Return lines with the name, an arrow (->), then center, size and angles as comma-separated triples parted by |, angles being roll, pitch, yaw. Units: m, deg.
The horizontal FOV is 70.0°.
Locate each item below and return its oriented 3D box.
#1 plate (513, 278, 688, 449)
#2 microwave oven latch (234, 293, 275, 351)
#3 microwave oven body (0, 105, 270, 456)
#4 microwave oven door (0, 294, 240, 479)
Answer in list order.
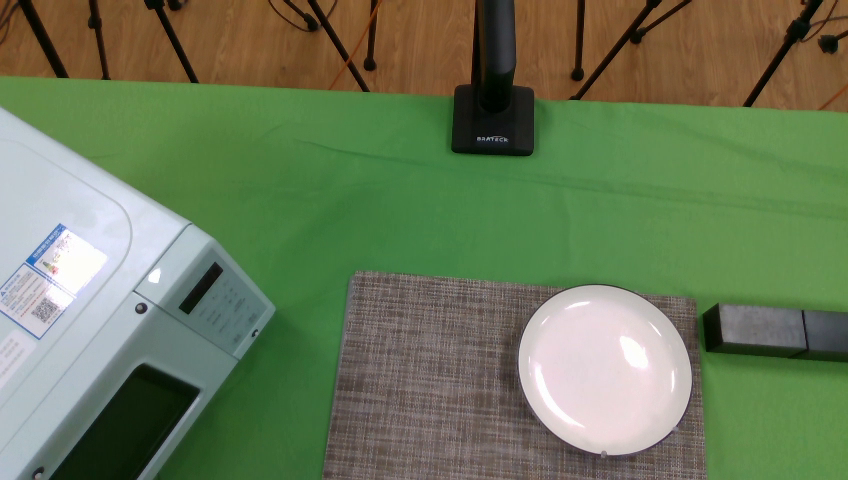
plate -> 0.212, 0.150, 0.742 | 0.208, 0.039, 0.206 | 0, 68, 1
microwave oven latch -> -0.219, 0.098, 0.758 | 0.030, 0.030, 0.079 | 31, 73, 12
microwave oven body -> -0.441, 0.133, 0.644 | 0.325, 0.262, 0.440 | 29, 72, 12
microwave oven door -> -0.338, 0.234, 0.597 | 0.039, 0.245, 0.354 | 29, 72, 13
